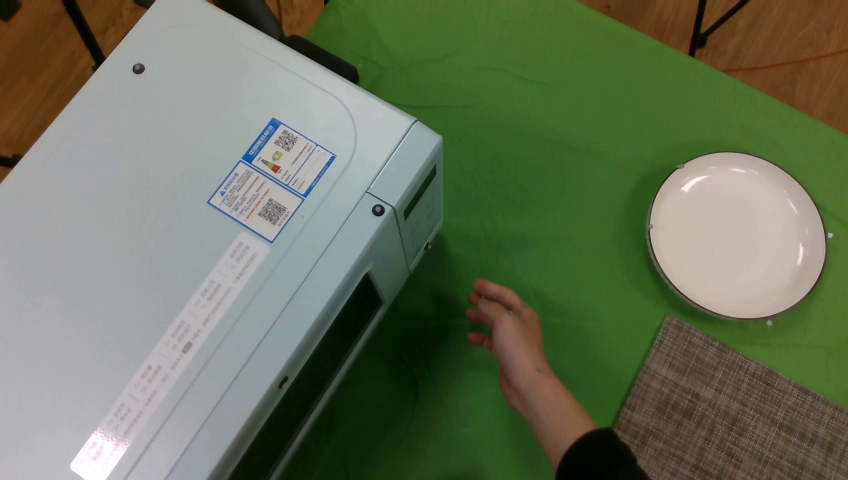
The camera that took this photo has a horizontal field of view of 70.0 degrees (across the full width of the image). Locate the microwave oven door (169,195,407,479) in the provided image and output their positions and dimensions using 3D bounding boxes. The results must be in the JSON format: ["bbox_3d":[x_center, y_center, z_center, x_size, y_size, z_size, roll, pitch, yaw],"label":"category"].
[{"bbox_3d":[-0.131,0.140,0.573,0.039,0.245,0.355,31,77,9],"label":"microwave oven door"}]

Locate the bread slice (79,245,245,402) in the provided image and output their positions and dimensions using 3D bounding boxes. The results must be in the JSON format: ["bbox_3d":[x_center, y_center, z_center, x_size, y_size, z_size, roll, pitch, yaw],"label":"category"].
[{"bbox_3d":[-0.247,0.071,0.593,0.107,0.018,0.134,41,71,1],"label":"bread slice"}]

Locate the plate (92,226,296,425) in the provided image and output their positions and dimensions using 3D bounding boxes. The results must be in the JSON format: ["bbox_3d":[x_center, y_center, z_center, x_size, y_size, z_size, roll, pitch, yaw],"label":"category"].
[{"bbox_3d":[-0.238,0.088,0.644,0.209,0.038,0.208,1,77,-2],"label":"plate"}]

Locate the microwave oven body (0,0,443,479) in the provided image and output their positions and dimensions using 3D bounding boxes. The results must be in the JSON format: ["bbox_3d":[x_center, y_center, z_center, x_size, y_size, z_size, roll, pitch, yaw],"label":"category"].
[{"bbox_3d":[-0.230,0.034,0.610,0.325,0.261,0.440,31,78,9],"label":"microwave oven body"}]

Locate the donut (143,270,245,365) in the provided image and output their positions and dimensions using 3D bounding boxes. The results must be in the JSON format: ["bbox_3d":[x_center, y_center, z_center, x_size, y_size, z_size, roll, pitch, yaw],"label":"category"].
[{"bbox_3d":[-0.232,0.079,0.618,0.099,0.048,0.098,3,72,-10],"label":"donut"}]

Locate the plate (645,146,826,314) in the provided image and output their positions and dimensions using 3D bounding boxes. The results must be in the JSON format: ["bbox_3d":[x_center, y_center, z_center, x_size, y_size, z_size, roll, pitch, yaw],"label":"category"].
[{"bbox_3d":[0.367,-0.011,0.728,0.207,0.039,0.206,0,75,1],"label":"plate"}]

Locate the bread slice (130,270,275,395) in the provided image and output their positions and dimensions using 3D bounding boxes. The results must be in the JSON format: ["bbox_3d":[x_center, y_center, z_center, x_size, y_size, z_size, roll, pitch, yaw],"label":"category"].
[{"bbox_3d":[-0.245,0.104,0.660,0.131,0.019,0.104,-36,78,-30],"label":"bread slice"}]

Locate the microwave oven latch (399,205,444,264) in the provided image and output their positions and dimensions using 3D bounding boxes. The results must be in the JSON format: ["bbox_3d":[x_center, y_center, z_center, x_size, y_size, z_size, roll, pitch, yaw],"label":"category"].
[{"bbox_3d":[-0.008,-0.012,0.717,0.030,0.029,0.079,36,79,10],"label":"microwave oven latch"}]
